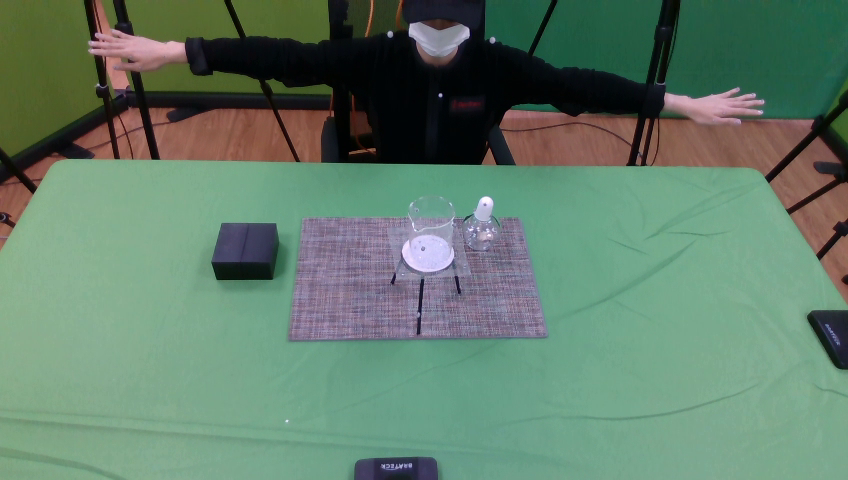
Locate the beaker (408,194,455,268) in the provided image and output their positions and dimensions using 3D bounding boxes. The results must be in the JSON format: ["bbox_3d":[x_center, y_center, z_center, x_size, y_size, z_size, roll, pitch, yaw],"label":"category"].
[{"bbox_3d":[0.009,-0.010,0.965,0.074,0.101,0.084,23,50,20],"label":"beaker"}]

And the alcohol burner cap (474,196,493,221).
[{"bbox_3d":[0.116,-0.062,1.147,0.034,0.048,0.033,6,48,-6],"label":"alcohol burner cap"}]

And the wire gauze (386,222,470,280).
[{"bbox_3d":[0.005,0.018,1.006,0.125,0.011,0.120,-7,45,-5],"label":"wire gauze"}]

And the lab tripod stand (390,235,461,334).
[{"bbox_3d":[-0.001,0.067,1.050,0.148,0.132,0.147,1,47,-1],"label":"lab tripod stand"}]

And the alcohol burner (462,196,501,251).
[{"bbox_3d":[0.112,-0.037,1.173,0.078,0.120,0.077,1,45,-1],"label":"alcohol burner"}]
